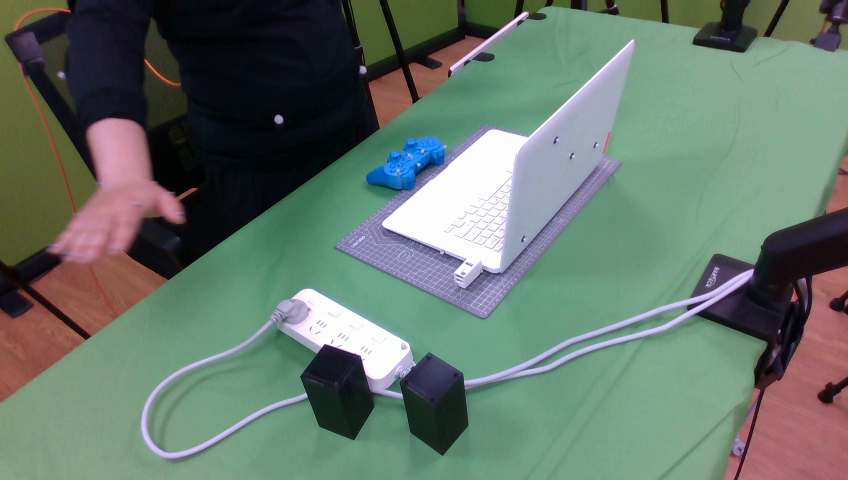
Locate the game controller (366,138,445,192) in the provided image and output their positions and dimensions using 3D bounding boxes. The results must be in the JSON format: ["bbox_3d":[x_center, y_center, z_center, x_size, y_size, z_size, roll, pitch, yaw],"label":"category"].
[{"bbox_3d":[-0.030,-0.147,1.128,0.096,0.052,0.155,24,50,30],"label":"game controller"}]

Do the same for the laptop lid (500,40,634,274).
[{"bbox_3d":[0.218,-0.128,0.906,0.013,0.242,0.358,28,50,25],"label":"laptop lid"}]

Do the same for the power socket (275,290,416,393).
[{"bbox_3d":[-0.114,0.132,0.821,0.225,0.033,0.072,24,48,32],"label":"power socket"}]

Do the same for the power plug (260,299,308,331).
[{"bbox_3d":[-0.193,0.109,0.830,0.073,0.053,0.035,-34,47,-23],"label":"power plug"}]

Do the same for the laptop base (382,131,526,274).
[{"bbox_3d":[0.123,-0.081,1.049,0.233,0.023,0.355,20,47,33],"label":"laptop base"}]

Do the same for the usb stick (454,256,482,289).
[{"bbox_3d":[0.069,0.044,0.891,0.021,0.027,0.059,22,44,32],"label":"usb stick"}]
